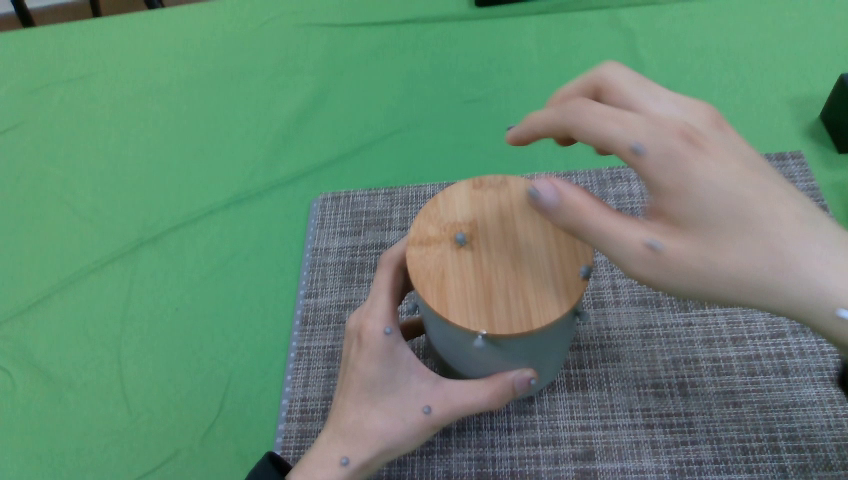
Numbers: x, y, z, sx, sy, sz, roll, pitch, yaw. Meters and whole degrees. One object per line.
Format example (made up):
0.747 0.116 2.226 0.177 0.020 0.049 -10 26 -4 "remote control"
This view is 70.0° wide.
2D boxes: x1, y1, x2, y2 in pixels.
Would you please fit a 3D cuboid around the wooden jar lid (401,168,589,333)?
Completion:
0.041 0.006 0.357 0.108 0.021 0.107 -1 61 2 "wooden jar lid"

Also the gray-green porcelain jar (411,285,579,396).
0.047 0.040 0.409 0.106 0.127 0.105 -2 56 4 "gray-green porcelain jar"
